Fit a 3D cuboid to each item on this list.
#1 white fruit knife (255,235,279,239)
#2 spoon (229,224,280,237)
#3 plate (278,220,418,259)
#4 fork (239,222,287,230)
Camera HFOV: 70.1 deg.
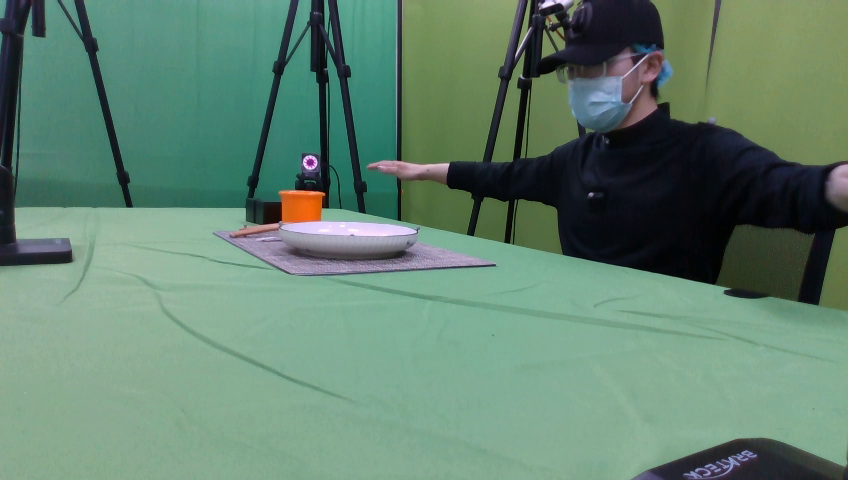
[{"bbox_3d":[-0.197,-0.012,1.047,0.208,0.016,0.027,-6,-2,-44],"label":"white fruit knife"},{"bbox_3d":[-0.248,-0.020,1.071,0.195,0.021,0.041,-3,25,-36],"label":"spoon"},{"bbox_3d":[-0.114,-0.002,0.914,0.209,0.038,0.209,2,7,0],"label":"plate"},{"bbox_3d":[-0.241,-0.025,1.125,0.208,0.018,0.028,-1,16,-35],"label":"fork"}]
